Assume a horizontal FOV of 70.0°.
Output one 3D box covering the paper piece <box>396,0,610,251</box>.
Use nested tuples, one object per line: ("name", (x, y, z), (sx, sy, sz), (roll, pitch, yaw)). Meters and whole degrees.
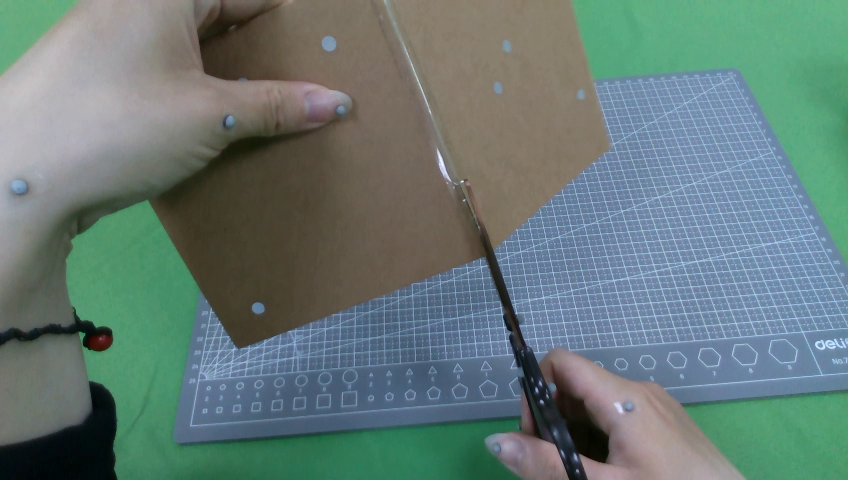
("paper piece", (0.049, -0.084, 0.304), (0.004, 0.136, 0.135), (-5, 24, 45))

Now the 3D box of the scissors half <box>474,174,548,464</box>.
("scissors half", (0.047, 0.046, 0.307), (0.013, 0.177, 0.039), (-17, 29, 1))

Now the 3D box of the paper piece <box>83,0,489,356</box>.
("paper piece", (-0.059, -0.025, 0.274), (0.138, 0.136, 0.008), (-22, 15, 8))

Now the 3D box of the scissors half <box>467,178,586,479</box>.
("scissors half", (0.049, 0.051, 0.284), (0.013, 0.040, 0.175), (-18, 86, -3))
